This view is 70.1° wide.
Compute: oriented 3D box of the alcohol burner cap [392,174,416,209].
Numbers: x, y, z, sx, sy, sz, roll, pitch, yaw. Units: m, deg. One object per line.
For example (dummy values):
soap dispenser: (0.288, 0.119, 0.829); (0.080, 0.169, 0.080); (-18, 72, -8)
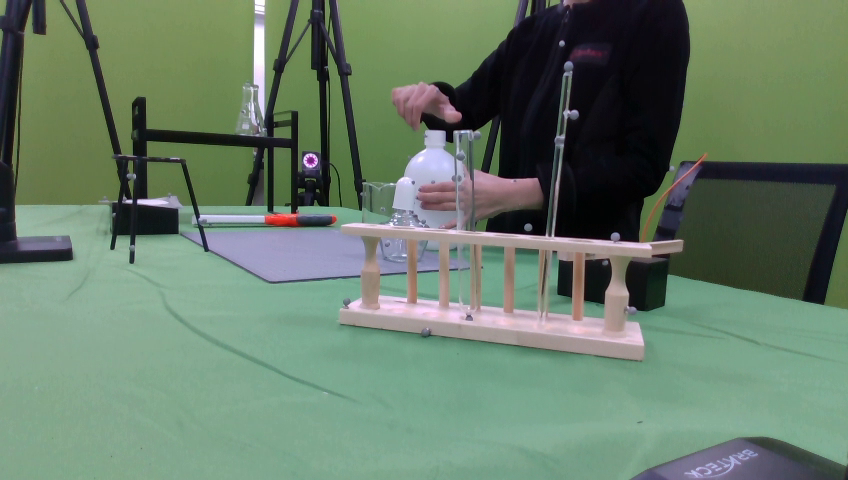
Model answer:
alcohol burner cap: (-0.025, -0.067, 0.834); (0.034, 0.048, 0.034); (8, 7, -1)

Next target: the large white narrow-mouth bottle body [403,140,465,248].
large white narrow-mouth bottle body: (0.017, -0.088, 1.001); (0.102, 0.194, 0.102); (2, 8, 0)

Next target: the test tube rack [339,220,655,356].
test tube rack: (0.056, 0.032, 0.495); (0.242, 0.085, 0.067); (4, 7, 15)

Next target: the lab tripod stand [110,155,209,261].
lab tripod stand: (-0.361, -0.046, 0.806); (0.148, 0.131, 0.148); (2, 5, 0)

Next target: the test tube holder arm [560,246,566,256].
test tube holder arm: (0.173, 0.007, 0.612); (0.088, 0.015, 0.010); (-3, 9, -29)

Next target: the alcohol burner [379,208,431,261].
alcohol burner: (-0.027, -0.031, 0.838); (0.078, 0.119, 0.078); (0, 6, 0)

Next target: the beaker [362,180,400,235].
beaker: (-0.081, -0.062, 1.142); (0.074, 0.100, 0.084); (2, 8, 1)

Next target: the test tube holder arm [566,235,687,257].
test tube holder arm: (0.215, 0.006, 0.630); (0.179, 0.015, 0.013); (-3, 9, -31)

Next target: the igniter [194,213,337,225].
igniter: (-0.306, -0.042, 1.196); (0.278, 0.025, 0.057); (-2, -2, -31)

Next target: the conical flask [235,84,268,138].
conical flask: (-0.402, -0.299, 1.406); (0.075, 0.122, 0.075); (2, 7, 0)

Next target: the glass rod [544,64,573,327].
glass rod: (0.101, -0.028, 0.453); (0.008, 0.199, 0.008); (1, 14, 0)

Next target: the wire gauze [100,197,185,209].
wire gauze: (-0.469, -0.062, 1.008); (0.126, 0.011, 0.121); (-2, 8, -25)

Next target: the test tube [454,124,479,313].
test tube: (0.034, -0.015, 0.476); (0.017, 0.150, 0.017); (-2, 9, 1)

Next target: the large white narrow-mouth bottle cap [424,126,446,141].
large white narrow-mouth bottle cap: (0.018, -0.173, 0.989); (0.038, 0.024, 0.037); (2, 7, 0)
